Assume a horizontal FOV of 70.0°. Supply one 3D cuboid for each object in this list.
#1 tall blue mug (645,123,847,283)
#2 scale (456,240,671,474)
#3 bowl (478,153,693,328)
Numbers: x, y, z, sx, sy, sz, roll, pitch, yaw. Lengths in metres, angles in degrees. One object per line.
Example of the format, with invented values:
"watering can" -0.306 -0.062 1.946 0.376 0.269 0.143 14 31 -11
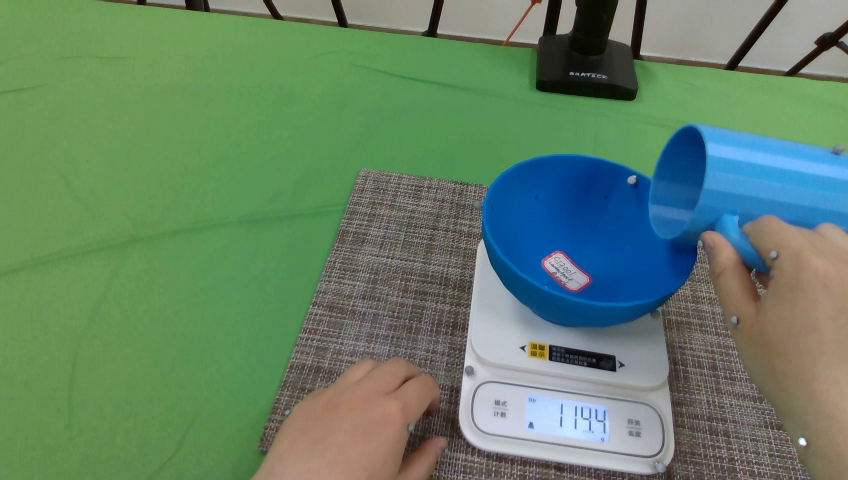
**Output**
"tall blue mug" 0.213 -0.025 0.381 0.108 0.078 0.106 9 13 -5
"scale" 0.107 0.072 0.469 0.148 0.032 0.199 7 47 4
"bowl" 0.110 0.013 0.451 0.151 0.077 0.150 2 47 -2
